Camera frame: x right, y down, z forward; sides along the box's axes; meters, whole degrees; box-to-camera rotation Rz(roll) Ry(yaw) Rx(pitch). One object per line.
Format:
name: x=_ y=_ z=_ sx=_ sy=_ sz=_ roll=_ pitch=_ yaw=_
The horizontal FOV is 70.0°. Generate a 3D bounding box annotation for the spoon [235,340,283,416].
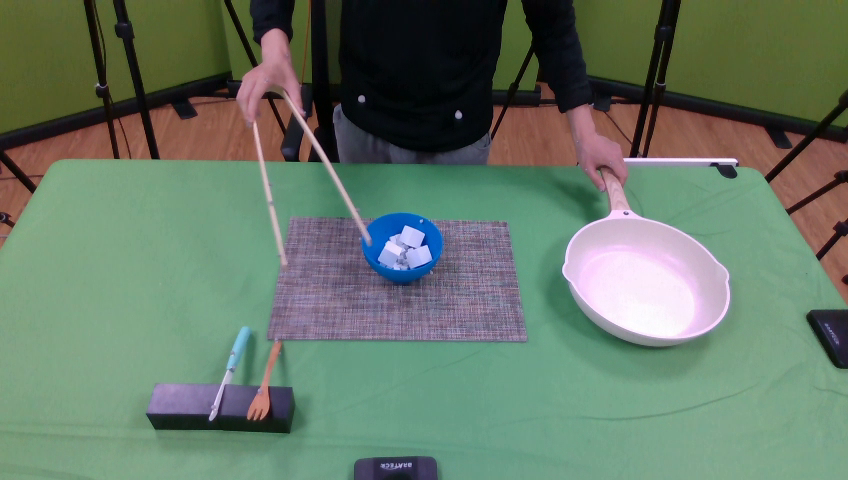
spoon: x=-0.245 y=0.207 z=0.932 sx=0.042 sy=0.021 sz=0.193 roll=31 pitch=24 yaw=-9

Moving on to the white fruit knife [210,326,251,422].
white fruit knife: x=-0.300 y=0.201 z=0.941 sx=0.016 sy=0.027 sz=0.206 roll=-2 pitch=32 yaw=1

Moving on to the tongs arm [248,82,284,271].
tongs arm: x=-0.259 y=-0.121 z=1.032 sx=0.051 sy=0.026 sz=0.382 roll=-15 pitch=62 yaw=-11

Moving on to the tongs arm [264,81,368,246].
tongs arm: x=-0.189 y=-0.142 z=1.051 sx=0.028 sy=0.028 sz=0.385 roll=-27 pitch=66 yaw=-13

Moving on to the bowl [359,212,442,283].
bowl: x=-0.044 y=0.026 z=1.125 sx=0.151 sy=0.077 sz=0.150 roll=2 pitch=46 yaw=-2

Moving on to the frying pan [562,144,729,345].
frying pan: x=0.396 y=-0.008 z=1.179 sx=0.307 sy=0.103 sz=0.484 roll=1 pitch=55 yaw=-4
